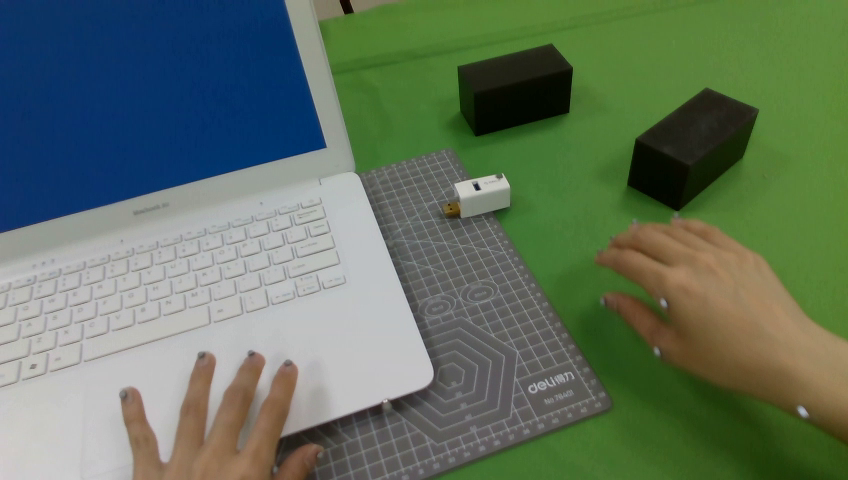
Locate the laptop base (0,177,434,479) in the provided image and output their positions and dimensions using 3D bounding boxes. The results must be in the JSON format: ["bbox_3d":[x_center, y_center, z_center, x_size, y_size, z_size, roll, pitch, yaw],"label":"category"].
[{"bbox_3d":[-0.192,0.073,0.452,0.355,0.023,0.233,-16,50,-9],"label":"laptop base"}]

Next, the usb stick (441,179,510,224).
[{"bbox_3d":[0.043,-0.031,0.515,0.059,0.027,0.021,-15,45,-4],"label":"usb stick"}]

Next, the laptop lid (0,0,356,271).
[{"bbox_3d":[-0.247,-0.104,0.470,0.357,0.244,0.013,-18,32,-8],"label":"laptop lid"}]
